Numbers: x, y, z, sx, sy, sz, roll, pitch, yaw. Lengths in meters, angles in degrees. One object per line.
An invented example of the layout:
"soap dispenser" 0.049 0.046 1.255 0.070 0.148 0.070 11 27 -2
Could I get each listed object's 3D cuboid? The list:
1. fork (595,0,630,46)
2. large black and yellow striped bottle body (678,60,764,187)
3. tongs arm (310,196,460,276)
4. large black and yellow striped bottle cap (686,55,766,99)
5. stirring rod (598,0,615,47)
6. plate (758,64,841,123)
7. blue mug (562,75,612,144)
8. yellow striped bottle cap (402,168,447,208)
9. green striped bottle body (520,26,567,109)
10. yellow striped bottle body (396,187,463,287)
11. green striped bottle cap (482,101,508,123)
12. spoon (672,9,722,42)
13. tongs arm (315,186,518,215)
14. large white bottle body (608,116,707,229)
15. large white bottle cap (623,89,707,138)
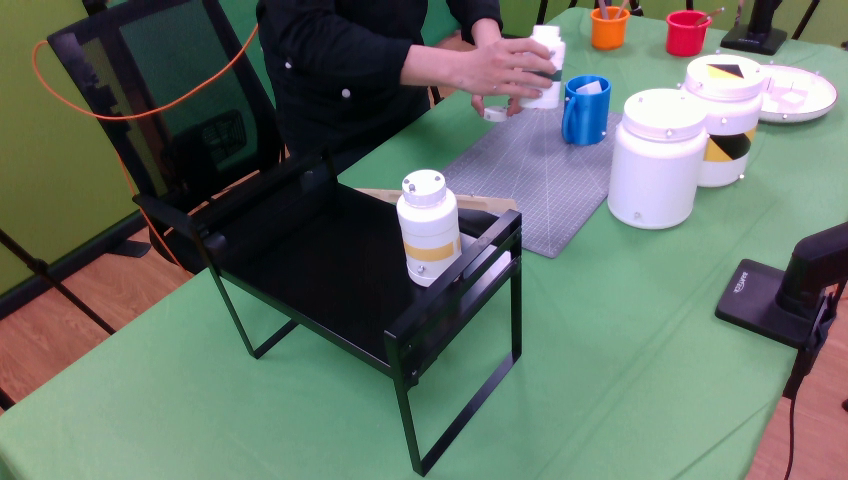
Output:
"fork" 0.480 -0.556 1.453 0.028 0.019 0.207 41 103 40
"large black and yellow striped bottle body" 0.482 -0.196 1.008 0.131 0.185 0.130 -4 41 4
"tongs arm" -0.078 -0.012 0.944 0.028 0.028 0.384 -43 39 -23
"large black and yellow striped bottle cap" 0.474 -0.258 0.952 0.115 0.019 0.114 -5 41 5
"stirring rod" 0.437 -0.551 1.462 0.014 0.006 0.175 -11 83 1
"plate" 0.694 -0.283 1.189 0.207 0.039 0.206 -4 40 4
"blue mug" 0.298 -0.239 1.143 0.081 0.106 0.117 30 54 36
"yellow striped bottle cap" 0.000 -0.052 0.605 0.044 0.019 0.044 -5 43 5
"green striped bottle body" 0.186 -0.268 0.936 0.063 0.119 0.063 3 22 -1
"yellow striped bottle body" 0.006 -0.013 0.638 0.063 0.121 0.062 -5 41 5
"green striped bottle cap" 0.127 -0.229 1.079 0.044 0.020 0.044 12 41 -10
"spoon" 0.606 -0.476 1.345 0.042 0.021 0.193 -6 -3 -2
"tongs arm" -0.028 -0.060 0.988 0.382 0.027 0.051 9 45 36
"large white bottle body" 0.361 -0.124 0.942 0.130 0.185 0.130 -4 41 4
"large white bottle cap" 0.352 -0.187 0.886 0.115 0.018 0.114 -4 41 4
